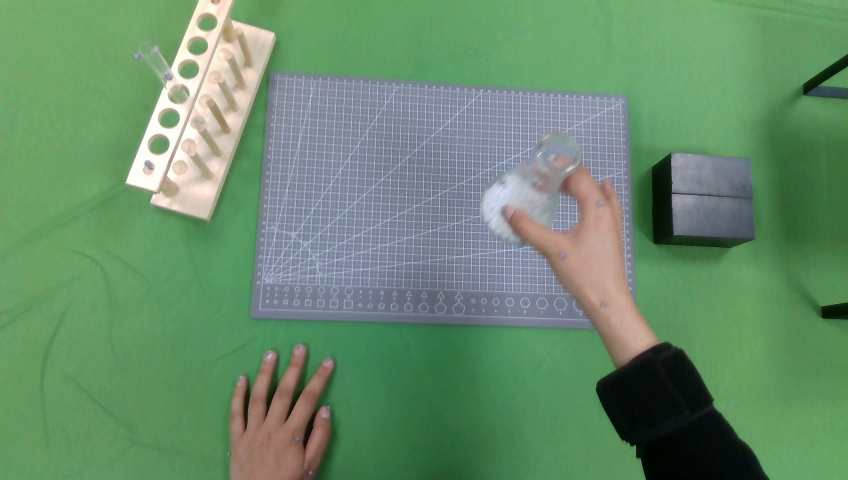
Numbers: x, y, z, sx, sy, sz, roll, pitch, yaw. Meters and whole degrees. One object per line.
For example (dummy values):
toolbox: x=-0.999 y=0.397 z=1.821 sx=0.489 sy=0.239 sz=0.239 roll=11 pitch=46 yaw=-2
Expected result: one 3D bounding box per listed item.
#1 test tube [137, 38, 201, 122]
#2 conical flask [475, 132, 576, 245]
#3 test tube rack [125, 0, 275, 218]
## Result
test tube: x=-0.260 y=-0.161 z=0.630 sx=0.017 sy=0.151 sz=0.017 roll=1 pitch=75 yaw=-3
conical flask: x=0.093 y=-0.049 z=0.531 sx=0.075 sy=0.122 sz=0.075 roll=3 pitch=69 yaw=-9
test tube rack: x=-0.244 y=-0.156 z=0.681 sx=0.067 sy=0.085 sz=0.241 roll=17 pitch=78 yaw=-2
